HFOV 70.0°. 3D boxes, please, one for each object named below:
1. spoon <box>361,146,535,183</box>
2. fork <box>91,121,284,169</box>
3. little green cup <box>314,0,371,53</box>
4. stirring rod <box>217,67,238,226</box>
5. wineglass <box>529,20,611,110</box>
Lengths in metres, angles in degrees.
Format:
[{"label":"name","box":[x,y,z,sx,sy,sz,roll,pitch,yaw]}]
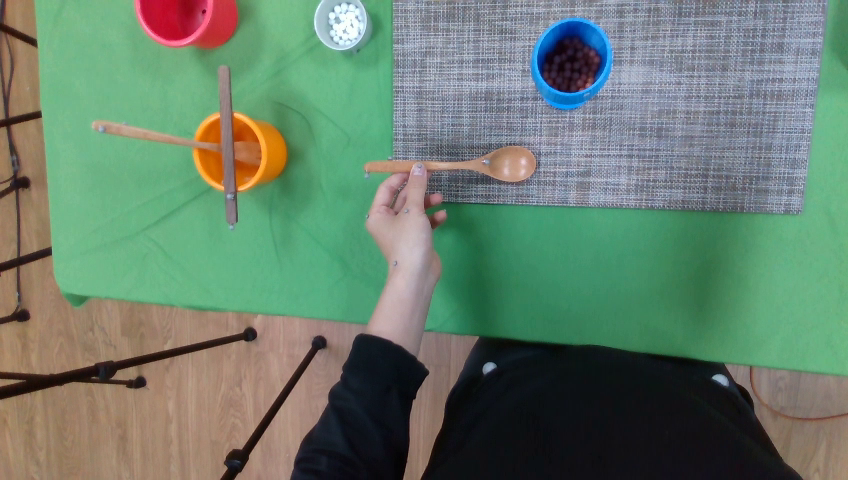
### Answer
[{"label":"spoon","box":[0.028,-0.083,0.673,0.194,0.021,0.042,-2,109,-11]},{"label":"fork","box":[-0.263,-0.109,0.693,0.209,0.018,0.028,7,112,-34]},{"label":"little green cup","box":[-0.090,-0.244,0.691,0.061,0.038,0.062,2,100,12]},{"label":"stirring rod","box":[-0.222,-0.104,0.682,0.014,0.006,0.176,2,100,12]},{"label":"wineglass","box":[0.139,-0.163,0.586,0.073,0.172,0.074,2,99,12]}]
